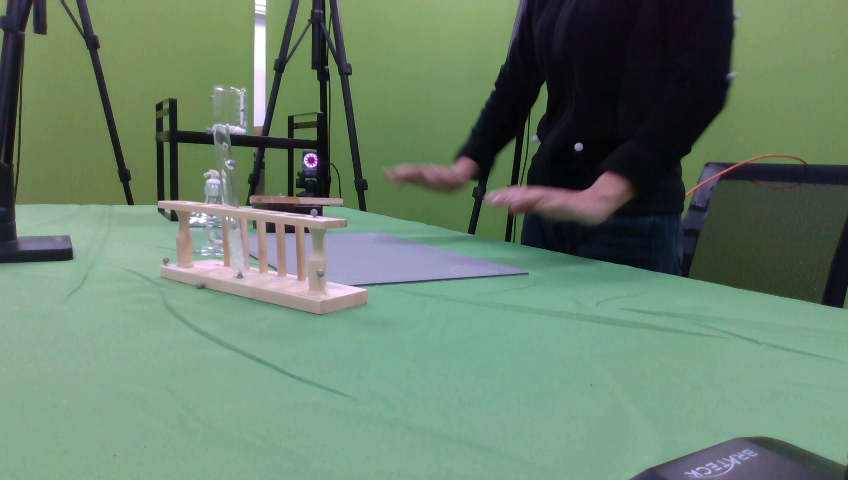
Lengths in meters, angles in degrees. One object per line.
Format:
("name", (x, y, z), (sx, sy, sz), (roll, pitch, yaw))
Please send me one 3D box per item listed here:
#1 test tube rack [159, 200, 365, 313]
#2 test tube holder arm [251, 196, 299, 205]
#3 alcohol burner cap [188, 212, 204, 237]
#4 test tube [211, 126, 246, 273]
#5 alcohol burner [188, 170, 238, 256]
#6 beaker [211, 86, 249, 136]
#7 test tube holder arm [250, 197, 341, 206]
("test tube rack", (-0.173, 0.009, 0.624), (0.241, 0.085, 0.067), (7, 9, 34))
("test tube holder arm", (-0.275, -0.073, 1.120), (0.088, 0.015, 0.010), (-1, 6, -33))
("alcohol burner cap", (-0.389, -0.029, 1.026), (0.034, 0.048, 0.034), (2, 9, 0))
("test tube", (-0.198, -0.040, 0.614), (0.017, 0.150, 0.017), (-5, 7, 1))
("alcohol burner", (-0.296, -0.038, 0.851), (0.078, 0.119, 0.078), (2, 5, 0))
("beaker", (-0.413, -0.274, 1.297), (0.074, 0.100, 0.083), (-5, 11, -44))
("test tube holder arm", (-0.241, -0.074, 1.150), (0.179, 0.015, 0.013), (-1, 6, -35))
